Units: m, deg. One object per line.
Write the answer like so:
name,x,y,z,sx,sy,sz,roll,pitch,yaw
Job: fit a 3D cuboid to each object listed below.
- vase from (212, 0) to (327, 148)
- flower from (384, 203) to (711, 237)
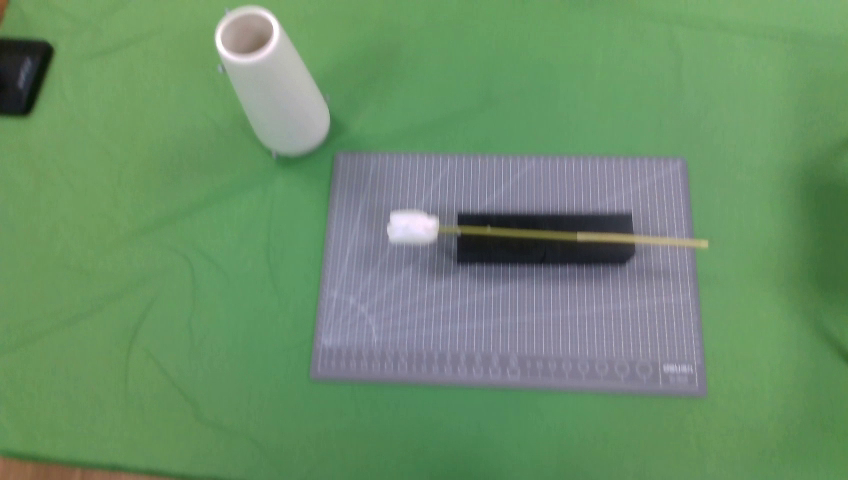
vase,-0.177,-0.191,0.713,0.098,0.201,0.097,-1,71,2
flower,0.134,-0.016,0.684,0.361,0.038,0.043,3,38,8
